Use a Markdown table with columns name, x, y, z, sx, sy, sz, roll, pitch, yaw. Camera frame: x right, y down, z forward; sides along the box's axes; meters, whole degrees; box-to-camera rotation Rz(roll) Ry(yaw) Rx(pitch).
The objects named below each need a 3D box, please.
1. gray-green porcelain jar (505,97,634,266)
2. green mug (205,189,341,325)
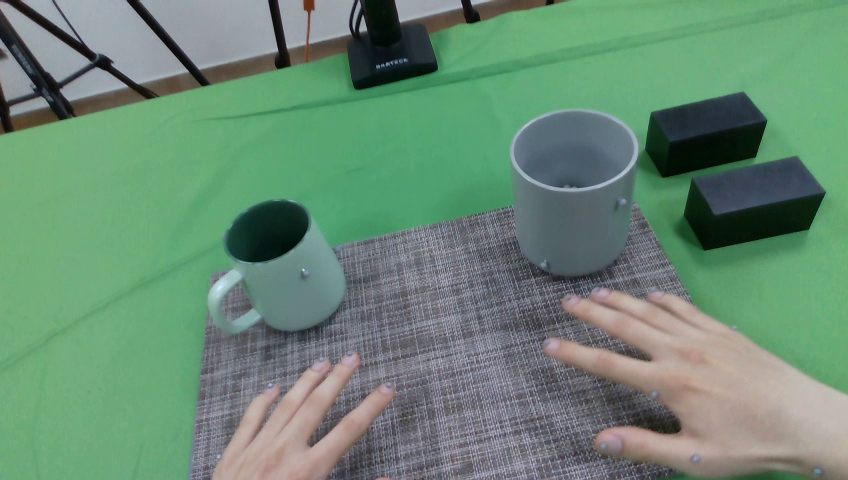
| name | x | y | z | sx | sy | sz | roll | pitch | yaw |
| --- | --- | --- | --- | --- | --- | --- | --- | --- | --- |
| gray-green porcelain jar | 0.130 | -0.047 | 0.549 | 0.106 | 0.128 | 0.105 | -6 | 50 | 7 |
| green mug | -0.143 | 0.027 | 0.559 | 0.091 | 0.106 | 0.125 | 31 | 63 | 31 |
